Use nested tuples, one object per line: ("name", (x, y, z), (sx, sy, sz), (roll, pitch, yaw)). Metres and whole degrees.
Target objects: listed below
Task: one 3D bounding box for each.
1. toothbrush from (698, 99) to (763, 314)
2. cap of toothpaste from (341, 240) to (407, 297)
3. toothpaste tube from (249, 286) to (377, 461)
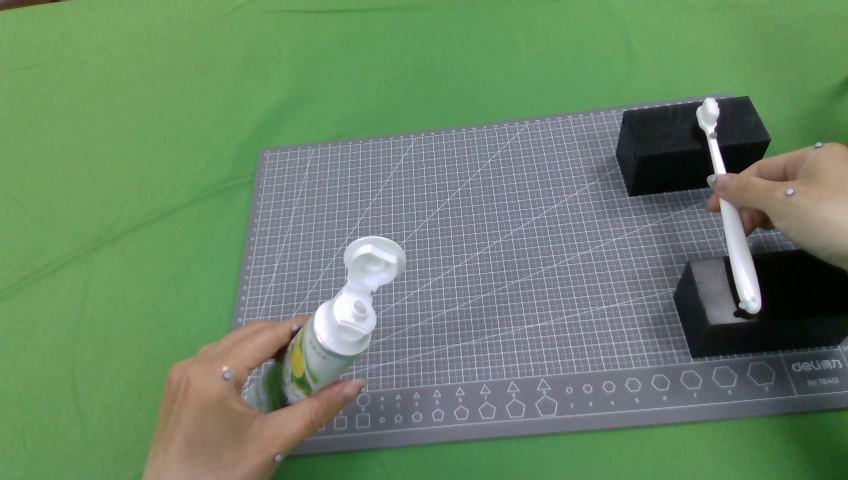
("toothbrush", (0.215, -0.031, 0.426), (0.014, 0.017, 0.180), (7, 58, -2))
("cap of toothpaste", (-0.028, 0.016, 0.331), (0.037, 0.038, 0.011), (-6, 39, 5))
("toothpaste tube", (-0.076, 0.081, 0.375), (0.035, 0.165, 0.054), (8, 49, -35))
